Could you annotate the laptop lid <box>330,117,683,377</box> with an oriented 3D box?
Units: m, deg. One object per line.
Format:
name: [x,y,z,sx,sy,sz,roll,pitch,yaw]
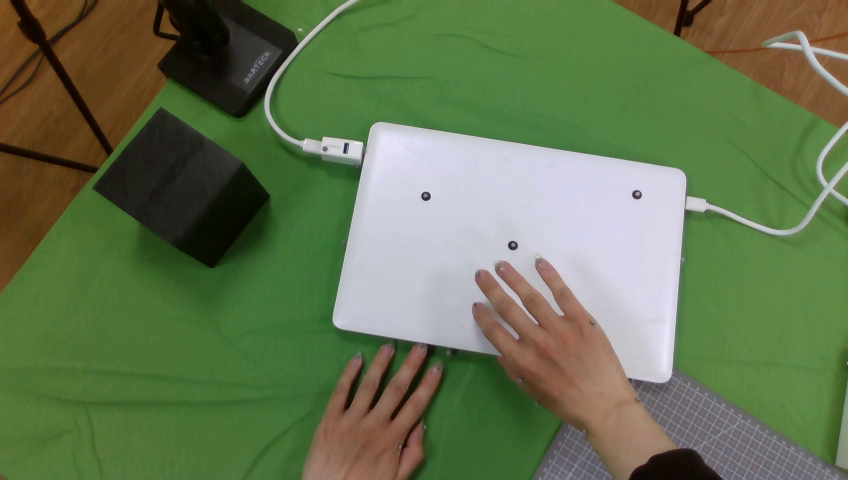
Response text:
laptop lid: [0.092,0.002,0.642,0.357,0.013,0.240,11,78,2]

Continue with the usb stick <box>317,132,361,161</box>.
usb stick: [-0.086,-0.101,0.663,0.059,0.027,0.021,9,79,-5]

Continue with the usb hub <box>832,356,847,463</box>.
usb hub: [0.456,0.169,0.619,0.049,0.025,0.124,17,77,4]

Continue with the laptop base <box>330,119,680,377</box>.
laptop base: [0.092,0.004,0.656,0.354,0.023,0.234,9,80,1]
